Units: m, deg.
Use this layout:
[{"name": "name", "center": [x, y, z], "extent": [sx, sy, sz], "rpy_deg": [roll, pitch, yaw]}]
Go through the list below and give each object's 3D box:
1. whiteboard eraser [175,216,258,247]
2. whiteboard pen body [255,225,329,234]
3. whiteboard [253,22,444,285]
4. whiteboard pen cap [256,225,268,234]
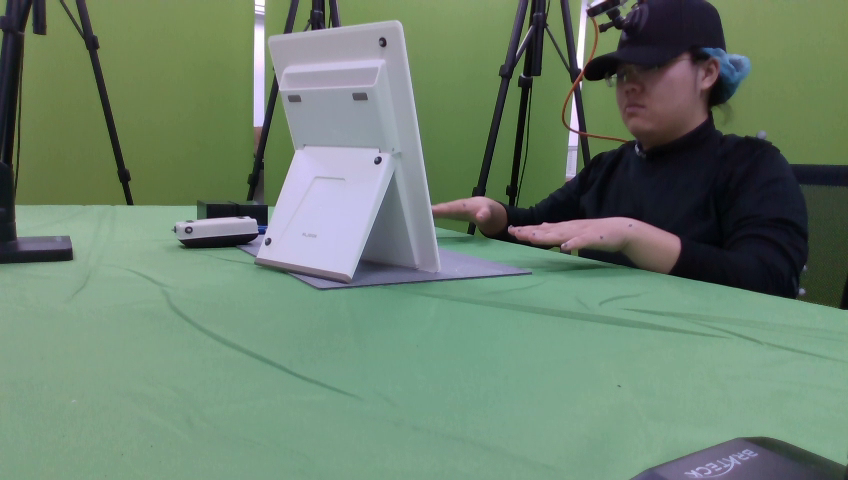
[{"name": "whiteboard eraser", "center": [-0.313, -0.013, 0.915], "extent": [0.113, 0.042, 0.055], "rpy_deg": [-5, 12, -30]}, {"name": "whiteboard pen body", "center": [-0.239, -0.019, 1.105], "extent": [0.141, 0.017, 0.017], "rpy_deg": [-2, 9, -34]}, {"name": "whiteboard", "center": [-0.125, -0.081, 0.715], "extent": [0.216, 0.305, 0.144], "rpy_deg": [9, 29, 36]}, {"name": "whiteboard pen cap", "center": [-0.288, -0.019, 1.072], "extent": [0.033, 0.018, 0.018], "rpy_deg": [-4, 10, -34]}]
